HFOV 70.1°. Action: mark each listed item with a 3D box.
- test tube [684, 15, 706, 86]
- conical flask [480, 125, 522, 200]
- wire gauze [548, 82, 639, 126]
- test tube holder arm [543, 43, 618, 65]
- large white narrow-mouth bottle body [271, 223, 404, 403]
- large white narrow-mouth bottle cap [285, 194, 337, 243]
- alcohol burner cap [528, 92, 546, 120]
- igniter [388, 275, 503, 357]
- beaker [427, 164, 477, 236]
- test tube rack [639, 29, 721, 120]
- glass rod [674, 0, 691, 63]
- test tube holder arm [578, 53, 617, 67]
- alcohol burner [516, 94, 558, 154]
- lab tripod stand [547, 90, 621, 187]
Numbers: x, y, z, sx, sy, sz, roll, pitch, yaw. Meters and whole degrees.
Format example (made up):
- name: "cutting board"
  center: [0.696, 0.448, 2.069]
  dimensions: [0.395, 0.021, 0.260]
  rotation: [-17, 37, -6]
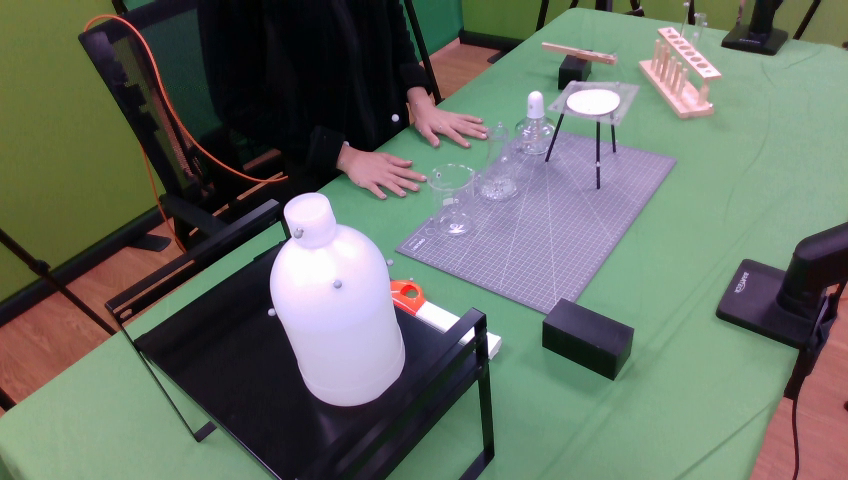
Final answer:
- name: "test tube"
  center: [0.541, -0.378, 1.216]
  dimensions: [0.017, 0.151, 0.017]
  rotation: [-2, 44, 3]
- name: "conical flask"
  center: [0.130, -0.135, 1.038]
  dimensions: [0.075, 0.122, 0.075]
  rotation: [-4, 40, 4]
- name: "wire gauze"
  center: [0.286, -0.235, 1.019]
  dimensions: [0.124, 0.011, 0.121]
  rotation: [16, 46, 28]
- name: "test tube holder arm"
  center: [0.344, -0.413, 1.341]
  dimensions: [0.177, 0.015, 0.013]
  rotation: [25, 51, 31]
- name: "large white narrow-mouth bottle body"
  center: [-0.077, 0.048, 0.525]
  dimensions: [0.102, 0.195, 0.101]
  rotation: [-5, 41, 4]
- name: "large white narrow-mouth bottle cap"
  center: [-0.087, -0.017, 0.467]
  dimensions: [0.038, 0.024, 0.037]
  rotation: [-4, 40, 4]
- name: "alcohol burner cap"
  center: [0.206, -0.249, 1.112]
  dimensions: [0.034, 0.048, 0.033]
  rotation: [-6, 34, 5]
- name: "igniter"
  center: [-0.008, 0.093, 0.870]
  dimensions: [0.274, 0.025, 0.057]
  rotation: [24, 60, 33]
- name: "beaker"
  center: [0.051, -0.064, 0.986]
  dimensions: [0.084, 0.101, 0.073]
  rotation: [-23, 43, -18]
- name: "test tube rack"
  center: [0.527, -0.351, 1.262]
  dimensions: [0.067, 0.085, 0.241]
  rotation: [-8, 40, 1]
- name: "glass rod"
  center: [0.537, -0.437, 1.257]
  dimensions: [0.008, 0.200, 0.008]
  rotation: [0, 39, 1]
- name: "test tube holder arm"
  center: [0.376, -0.393, 1.314]
  dimensions: [0.087, 0.015, 0.010]
  rotation: [26, 51, 32]
- name: "alcohol burner"
  center: [0.212, -0.221, 1.135]
  dimensions: [0.078, 0.119, 0.077]
  rotation: [-5, 42, 5]
- name: "lab tripod stand"
  center: [0.289, -0.184, 1.062]
  dimensions: [0.148, 0.132, 0.147]
  rotation: [-6, 41, 6]
